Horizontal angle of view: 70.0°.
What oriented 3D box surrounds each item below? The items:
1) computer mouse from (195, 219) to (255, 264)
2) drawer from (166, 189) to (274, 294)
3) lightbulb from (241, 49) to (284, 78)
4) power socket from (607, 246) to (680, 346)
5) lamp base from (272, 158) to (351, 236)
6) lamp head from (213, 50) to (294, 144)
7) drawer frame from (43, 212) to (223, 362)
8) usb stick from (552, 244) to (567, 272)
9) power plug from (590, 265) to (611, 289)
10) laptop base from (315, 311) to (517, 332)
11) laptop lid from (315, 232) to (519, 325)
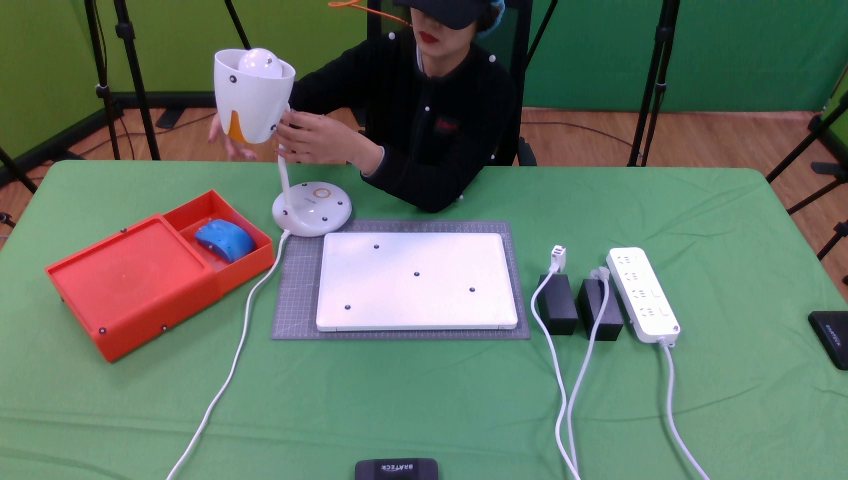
[{"bbox_3d":[-0.380,-0.003,1.155,0.116,0.041,0.063,29,51,26],"label":"computer mouse"},{"bbox_3d":[-0.418,0.021,1.109,0.193,0.073,0.211,37,55,27],"label":"drawer"},{"bbox_3d":[-0.232,-0.223,0.883,0.059,0.108,0.059,2,38,-1],"label":"lightbulb"},{"bbox_3d":[0.403,0.096,1.123,0.072,0.033,0.225,-3,46,-5],"label":"power socket"},{"bbox_3d":[-0.233,-0.111,1.177,0.160,0.181,0.178,18,50,15],"label":"lamp base"},{"bbox_3d":[-0.255,-0.207,0.892,0.112,0.123,0.112,12,34,-8],"label":"lamp head"},{"bbox_3d":[-0.497,0.073,1.049,0.213,0.083,0.200,-35,57,-31],"label":"drawer frame"},{"bbox_3d":[0.251,0.039,1.123,0.021,0.059,0.027,14,47,24],"label":"usb stick"},{"bbox_3d":[0.318,0.073,1.108,0.035,0.053,0.072,26,34,13],"label":"power plug"},{"bbox_3d":[-0.016,0.075,1.125,0.355,0.023,0.234,0,42,-4],"label":"laptop base"},{"bbox_3d":[-0.015,0.065,1.118,0.357,0.013,0.240,1,43,-3],"label":"laptop lid"}]
